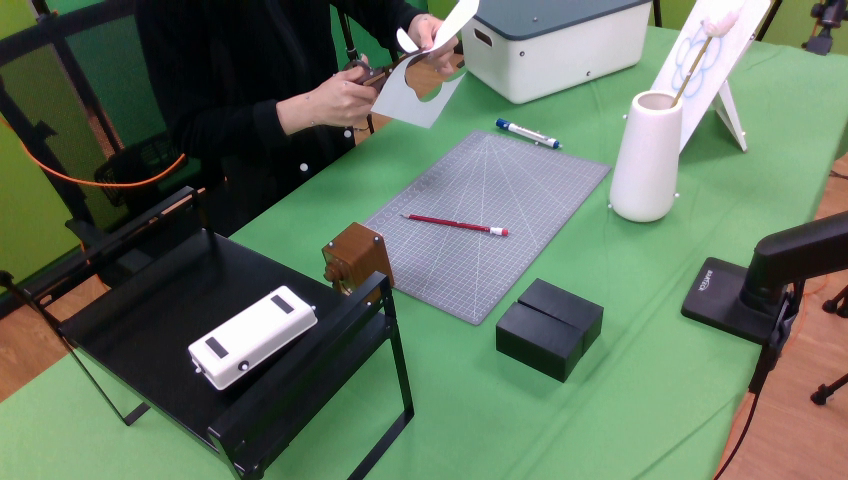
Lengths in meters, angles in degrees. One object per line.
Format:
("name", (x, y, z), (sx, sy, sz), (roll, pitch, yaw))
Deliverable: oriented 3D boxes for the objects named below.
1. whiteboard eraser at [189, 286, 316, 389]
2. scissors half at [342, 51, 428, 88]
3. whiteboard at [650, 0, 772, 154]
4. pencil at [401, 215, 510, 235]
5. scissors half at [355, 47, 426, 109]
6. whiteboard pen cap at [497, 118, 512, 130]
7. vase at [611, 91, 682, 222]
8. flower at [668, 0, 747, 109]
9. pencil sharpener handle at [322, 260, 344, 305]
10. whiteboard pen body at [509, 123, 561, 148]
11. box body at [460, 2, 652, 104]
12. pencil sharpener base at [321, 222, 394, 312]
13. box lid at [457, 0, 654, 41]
("whiteboard eraser", (-0.166, 0.096, 0.593), (0.113, 0.042, 0.055), (-36, 47, -29))
("scissors half", (-0.062, -0.263, 0.913), (0.174, 0.040, 0.013), (-2, 38, 37))
("whiteboard", (0.543, -0.298, 1.076), (0.144, 0.305, 0.216), (12, 40, -7))
("pencil", (0.049, -0.027, 1.007), (0.193, 0.012, 0.012), (10, 43, 21))
("scissors half", (-0.051, -0.246, 0.920), (0.174, 0.040, 0.013), (-29, 14, 48))
("whiteboard pen cap", (0.165, -0.235, 1.227), (0.033, 0.018, 0.018), (31, 53, 31))
("vase", (0.348, -0.125, 0.935), (0.098, 0.201, 0.097), (-3, 40, 3))
("flower", (0.354, -0.187, 0.879), (0.038, 0.362, 0.044), (30, 48, 14))
("pencil sharpener handle", (-0.131, 0.061, 0.839), (0.035, 0.068, 0.031), (29, 56, 27))
("whiteboard pen body", (0.208, -0.211, 1.195), (0.139, 0.017, 0.017), (30, 52, 33))
("box body", (0.291, -0.465, 1.371), (0.365, 0.161, 0.252), (-22, 42, -16))
("pencil sharpener base", (-0.096, 0.041, 0.873), (0.061, 0.107, 0.077), (26, 54, 32))
("box lid", (0.285, -0.522, 1.323), (0.373, 0.015, 0.261), (-22, 43, -16))
